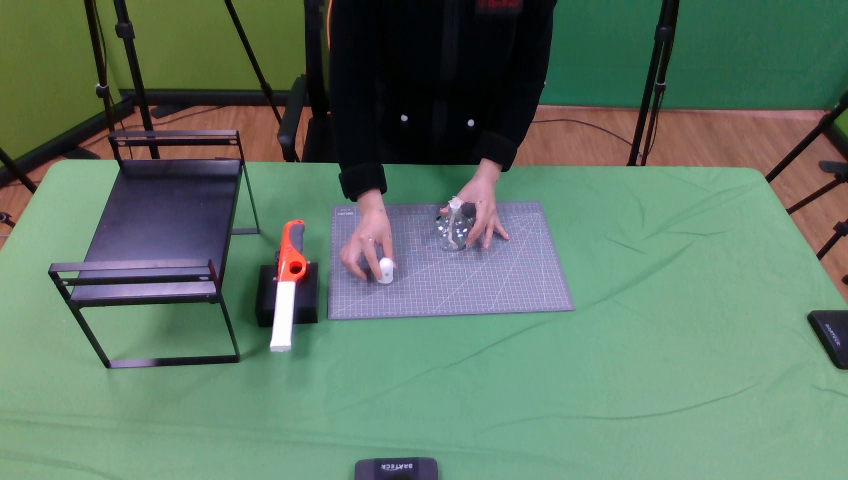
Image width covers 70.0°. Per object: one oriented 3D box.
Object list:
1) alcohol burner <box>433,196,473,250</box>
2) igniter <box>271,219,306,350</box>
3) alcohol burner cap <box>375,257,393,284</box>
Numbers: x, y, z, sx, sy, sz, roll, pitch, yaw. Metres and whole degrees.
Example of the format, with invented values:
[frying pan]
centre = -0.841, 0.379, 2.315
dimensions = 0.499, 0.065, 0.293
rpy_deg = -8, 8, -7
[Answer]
[alcohol burner]
centre = 0.058, -0.038, 1.168
dimensions = 0.078, 0.119, 0.077
rpy_deg = 3, 45, -2
[igniter]
centre = -0.235, 0.067, 1.047
dimensions = 0.057, 0.025, 0.274
rpy_deg = 0, 49, -6
[alcohol burner cap]
centre = -0.071, 0.053, 1.106
dimensions = 0.034, 0.048, 0.033
rpy_deg = 6, 41, -5
